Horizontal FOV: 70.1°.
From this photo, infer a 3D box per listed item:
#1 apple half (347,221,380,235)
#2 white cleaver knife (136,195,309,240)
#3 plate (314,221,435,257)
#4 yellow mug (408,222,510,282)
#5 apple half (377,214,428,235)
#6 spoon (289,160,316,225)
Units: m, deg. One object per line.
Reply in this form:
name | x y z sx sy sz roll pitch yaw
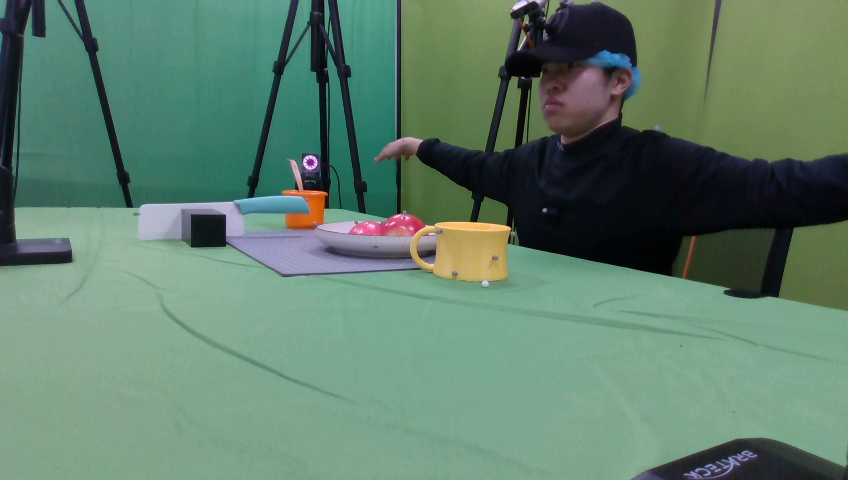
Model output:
apple half | -0.089 -0.014 0.985 0.081 0.033 0.081 5 6 0
white cleaver knife | -0.337 -0.039 1.037 0.288 0.066 0.021 -6 15 -29
plate | -0.067 -0.002 0.947 0.209 0.038 0.209 3 7 0
yellow mug | 0.044 0.013 0.785 0.131 0.064 0.100 2 7 4
apple half | -0.034 -0.013 0.924 0.080 0.053 0.075 5 10 16
spoon | -0.260 -0.102 1.268 0.042 0.193 0.021 1 -37 -27
